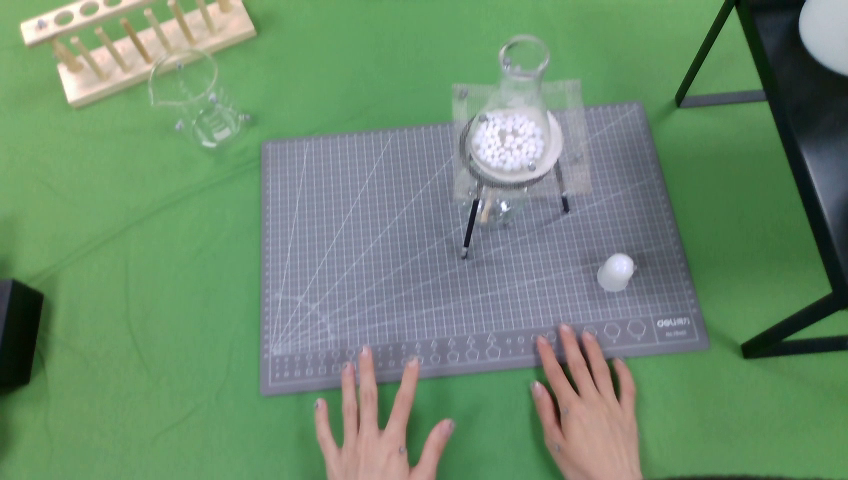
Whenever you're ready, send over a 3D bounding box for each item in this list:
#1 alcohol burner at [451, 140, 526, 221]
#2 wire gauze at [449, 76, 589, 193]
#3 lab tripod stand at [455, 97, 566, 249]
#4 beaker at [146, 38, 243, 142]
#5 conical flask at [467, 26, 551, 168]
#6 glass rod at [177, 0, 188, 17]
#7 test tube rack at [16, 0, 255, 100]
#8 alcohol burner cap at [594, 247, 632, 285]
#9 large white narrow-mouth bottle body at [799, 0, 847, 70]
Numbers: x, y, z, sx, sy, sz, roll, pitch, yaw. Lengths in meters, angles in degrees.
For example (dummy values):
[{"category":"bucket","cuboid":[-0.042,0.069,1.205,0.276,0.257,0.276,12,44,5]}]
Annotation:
[{"category":"alcohol burner","cuboid":[0.067,-0.067,0.619,0.078,0.120,0.077,0,67,1]},{"category":"wire gauze","cuboid":[0.084,-0.100,0.549,0.121,0.011,0.124,0,66,0]},{"category":"lab tripod stand","cuboid":[0.080,-0.070,0.609,0.148,0.132,0.147,0,67,1]},{"category":"beaker","cuboid":[-0.255,-0.161,0.680,0.073,0.101,0.084,39,75,17]},{"category":"conical flask","cuboid":[0.073,-0.118,0.493,0.075,0.123,0.075,-1,68,2]},{"category":"glass rod","cuboid":[-0.299,-0.327,0.683,0.008,0.201,0.008,1,66,-2]},{"category":"test tube rack","cuboid":[-0.341,-0.265,0.732,0.242,0.086,0.066,-25,69,-7]},{"category":"alcohol burner cap","cuboid":[0.194,0.023,0.617,0.034,0.048,0.033,-1,69,2]},{"category":"large white narrow-mouth bottle body","cuboid":[0.365,-0.218,0.433,0.102,0.196,0.101,-1,66,2]}]
